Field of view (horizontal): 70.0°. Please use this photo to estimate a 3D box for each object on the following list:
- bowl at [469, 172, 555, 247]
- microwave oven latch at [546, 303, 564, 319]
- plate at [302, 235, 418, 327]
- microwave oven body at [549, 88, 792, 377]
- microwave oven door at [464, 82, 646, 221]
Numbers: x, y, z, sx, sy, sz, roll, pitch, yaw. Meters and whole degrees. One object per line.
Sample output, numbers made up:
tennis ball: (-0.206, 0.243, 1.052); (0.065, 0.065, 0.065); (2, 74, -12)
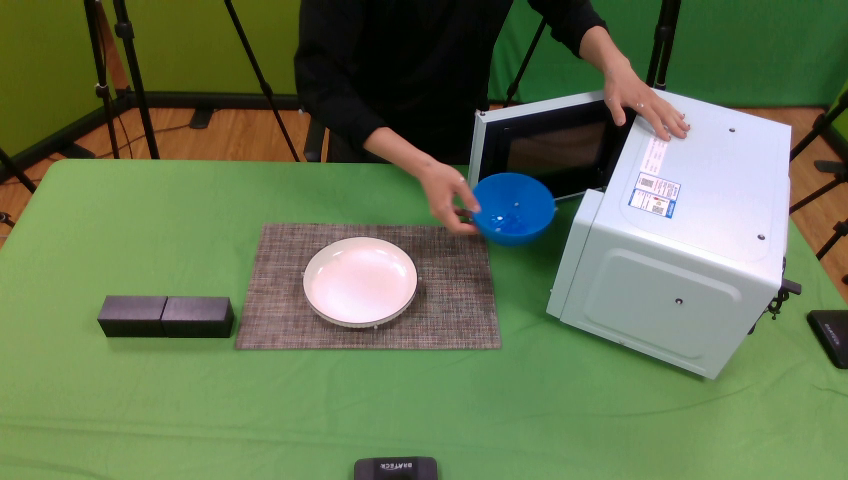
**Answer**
bowl: (0.152, -0.041, 1.082); (0.151, 0.077, 0.150); (1, 51, -1)
microwave oven latch: (0.242, 0.102, 1.081); (0.030, 0.029, 0.079); (22, 48, 17)
plate: (-0.114, 0.077, 1.098); (0.208, 0.039, 0.206); (2, 46, -2)
microwave oven body: (0.456, -0.028, 1.088); (0.325, 0.261, 0.440); (20, 47, 16)
microwave oven door: (0.258, -0.176, 1.208); (0.356, 0.245, 0.039); (-14, 48, -17)
